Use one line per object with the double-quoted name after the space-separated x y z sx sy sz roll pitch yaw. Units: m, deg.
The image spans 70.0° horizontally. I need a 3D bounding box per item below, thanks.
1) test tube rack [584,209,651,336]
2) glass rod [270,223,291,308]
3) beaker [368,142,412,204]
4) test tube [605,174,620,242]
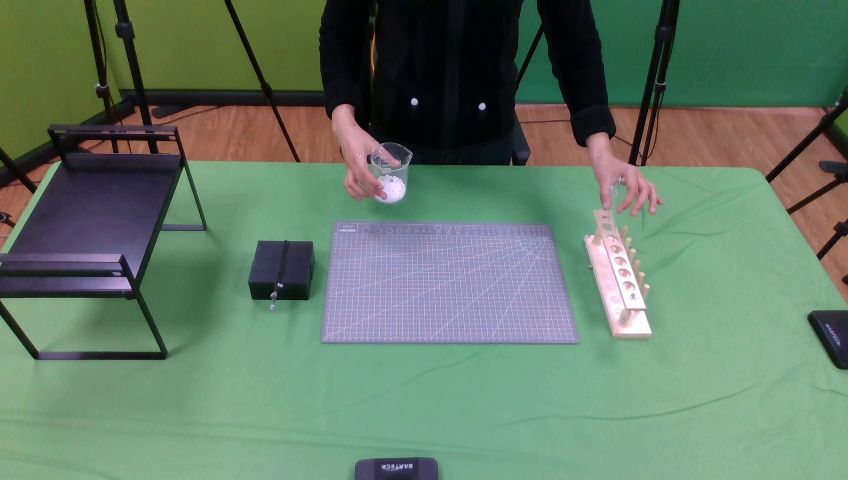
0.365 0.056 1.129 0.067 0.085 0.240 0 46 -3 "test tube rack"
-0.255 0.041 1.082 0.008 0.008 0.198 2 46 -2 "glass rod"
-0.065 -0.125 1.149 0.084 0.101 0.073 -17 57 -18 "beaker"
0.340 -0.052 1.096 0.017 0.151 0.017 -4 36 3 "test tube"
